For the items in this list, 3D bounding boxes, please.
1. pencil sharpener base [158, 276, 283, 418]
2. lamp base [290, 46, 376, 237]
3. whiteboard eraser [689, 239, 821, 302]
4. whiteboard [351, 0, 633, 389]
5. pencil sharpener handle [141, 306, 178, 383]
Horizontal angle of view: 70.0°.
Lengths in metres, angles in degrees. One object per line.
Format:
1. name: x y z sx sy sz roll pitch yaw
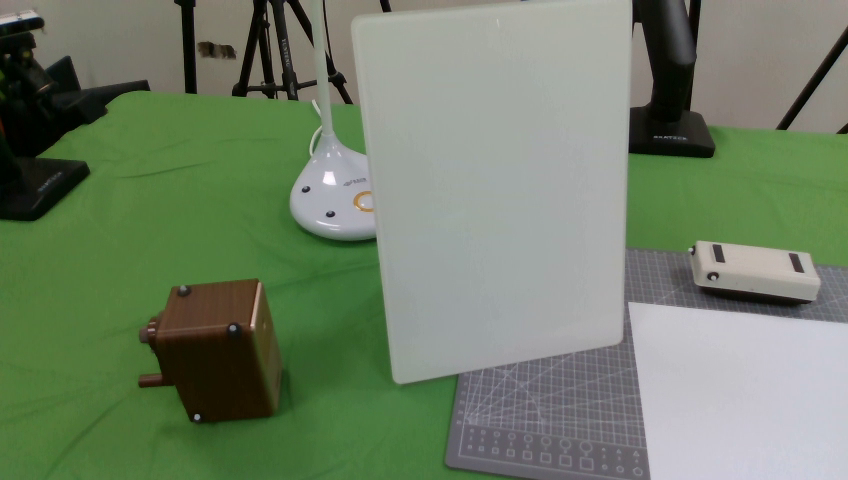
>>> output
1. pencil sharpener base: -0.163 0.089 0.493 0.077 0.108 0.060 -5 39 -4
2. lamp base: -0.092 -0.121 0.701 0.161 0.182 0.177 -27 43 -29
3. whiteboard eraser: 0.329 0.031 0.609 0.112 0.042 0.055 8 40 10
4. whiteboard: 0.055 -0.051 0.555 0.217 0.307 0.142 -8 20 -8
5. pencil sharpener handle: -0.213 0.085 0.478 0.031 0.068 0.035 -5 27 -4
